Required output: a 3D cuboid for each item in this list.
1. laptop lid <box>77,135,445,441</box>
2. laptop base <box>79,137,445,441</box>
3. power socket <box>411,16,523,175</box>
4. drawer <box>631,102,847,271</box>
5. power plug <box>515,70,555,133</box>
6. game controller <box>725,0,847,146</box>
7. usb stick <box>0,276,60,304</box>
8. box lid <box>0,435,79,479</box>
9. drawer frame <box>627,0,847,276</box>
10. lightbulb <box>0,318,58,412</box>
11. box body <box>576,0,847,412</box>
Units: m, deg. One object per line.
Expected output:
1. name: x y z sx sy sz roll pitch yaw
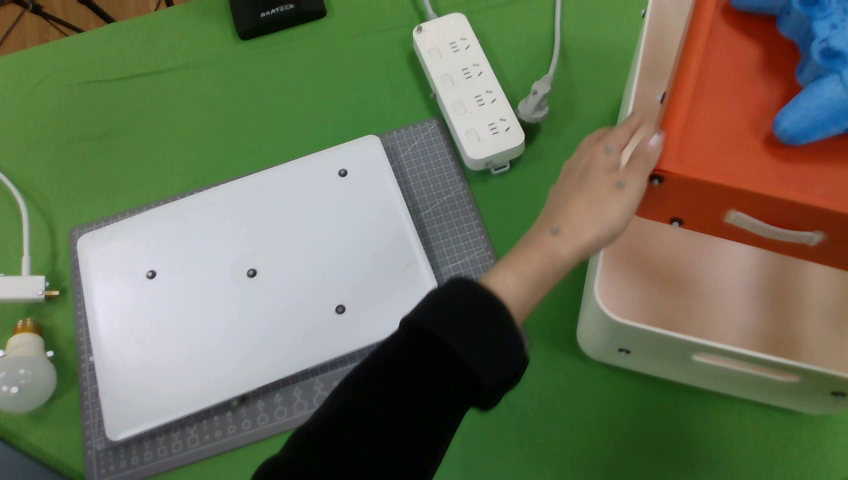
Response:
1. laptop lid: -0.180 0.037 0.639 0.357 0.013 0.239 -19 69 -4
2. laptop base: -0.180 0.040 0.651 0.354 0.023 0.233 -20 70 -5
3. power socket: 0.048 -0.178 0.721 0.072 0.033 0.224 -19 66 -5
4. drawer: 0.289 -0.094 0.479 0.193 0.074 0.210 16 66 16
5. power plug: 0.136 -0.158 0.703 0.072 0.053 0.035 -36 62 -29
6. game controller: 0.290 -0.145 0.443 0.097 0.052 0.154 -2 65 1
7. usb stick: -0.425 0.054 0.651 0.059 0.021 0.027 6 67 -29
8. box lid: -0.367 0.348 0.534 0.370 0.015 0.262 22 70 12
9. drawer frame: 0.289 -0.097 0.478 0.201 0.083 0.212 17 67 15
10. lightbulb: -0.406 0.123 0.615 0.059 0.060 0.106 -20 51 -4
11. box body: 0.299 -0.044 0.572 0.253 0.161 0.362 13 68 10
